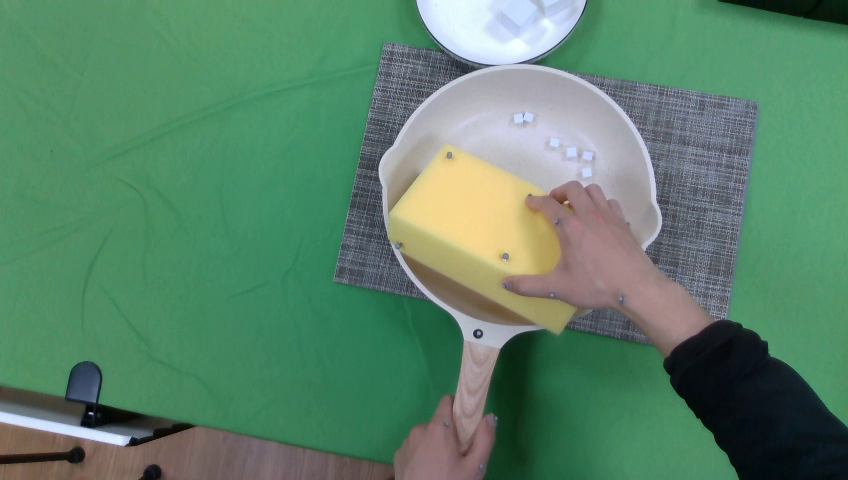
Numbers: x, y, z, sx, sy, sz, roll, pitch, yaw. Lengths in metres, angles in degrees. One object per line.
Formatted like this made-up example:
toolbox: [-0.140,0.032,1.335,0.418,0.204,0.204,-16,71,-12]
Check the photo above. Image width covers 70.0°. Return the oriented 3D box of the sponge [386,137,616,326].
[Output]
sponge: [0.078,-0.013,0.636,0.206,0.061,0.117,26,59,12]

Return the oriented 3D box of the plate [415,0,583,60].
plate: [0.089,-0.312,0.727,0.207,0.039,0.207,0,84,4]

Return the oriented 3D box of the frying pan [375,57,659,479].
frying pan: [0.072,0.045,0.653,0.306,0.103,0.486,14,77,6]
